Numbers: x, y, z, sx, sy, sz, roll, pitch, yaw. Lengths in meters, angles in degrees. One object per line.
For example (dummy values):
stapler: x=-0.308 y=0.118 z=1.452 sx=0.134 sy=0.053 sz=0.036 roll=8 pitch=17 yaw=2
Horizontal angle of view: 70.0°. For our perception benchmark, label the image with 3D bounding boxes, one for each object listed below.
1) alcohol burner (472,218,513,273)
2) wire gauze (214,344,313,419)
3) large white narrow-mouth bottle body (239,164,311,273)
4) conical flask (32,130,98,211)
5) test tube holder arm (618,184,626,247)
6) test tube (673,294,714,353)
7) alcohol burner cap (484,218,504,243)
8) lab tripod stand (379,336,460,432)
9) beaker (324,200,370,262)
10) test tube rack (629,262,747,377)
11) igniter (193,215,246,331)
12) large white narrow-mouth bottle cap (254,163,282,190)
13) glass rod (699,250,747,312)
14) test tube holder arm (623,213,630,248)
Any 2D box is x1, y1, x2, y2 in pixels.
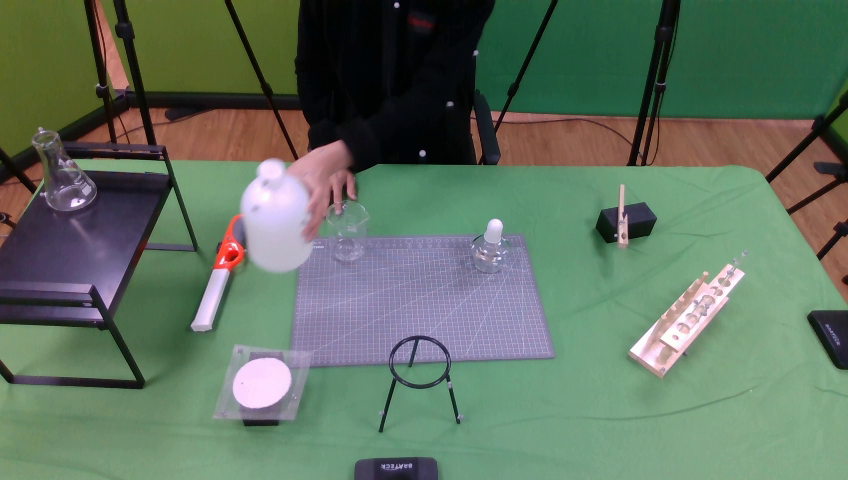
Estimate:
alcohol burner: x=0.129 y=0.005 z=1.132 sx=0.078 sy=0.120 sz=0.077 roll=0 pitch=47 yaw=0
wire gauze: x=-0.241 y=0.213 z=0.915 sx=0.121 sy=0.011 sz=0.124 roll=5 pitch=46 yaw=1
large white narrow-mouth bottle body: x=-0.229 y=-0.039 z=0.928 sx=0.102 sy=0.195 sz=0.101 roll=3 pitch=53 yaw=-4
conical flask: x=-0.565 y=-0.111 z=0.944 sx=0.075 sy=0.122 sz=0.075 roll=2 pitch=46 yaw=-2
test tube holder arm: x=0.395 y=-0.053 z=1.211 sx=0.013 sy=0.015 sz=0.177 roll=15 pitch=47 yaw=0
test tube: x=0.428 y=0.137 z=0.978 sx=0.017 sy=0.151 sz=0.017 roll=4 pitch=47 yaw=-4
alcohol burner cap: x=0.130 y=-0.021 z=1.106 sx=0.034 sy=0.048 sz=0.033 roll=3 pitch=51 yaw=-4
lab tripod stand: x=-0.011 y=0.214 z=0.911 sx=0.148 sy=0.132 sz=0.147 roll=1 pitch=45 yaw=0
beaker: x=-0.143 y=-0.015 z=1.142 sx=0.084 sy=0.101 sz=0.073 roll=1 pitch=46 yaw=-4
test tube rack: x=0.464 y=0.126 z=1.060 sx=0.242 sy=0.085 sz=0.066 roll=-34 pitch=56 yaw=-31
igniter: x=-0.368 y=0.050 z=1.119 sx=0.057 sy=0.025 sz=0.275 roll=-3 pitch=46 yaw=7
large white narrow-mouth bottle cap: x=-0.222 y=-0.090 z=0.859 sx=0.038 sy=0.024 sz=0.037 roll=3 pitch=53 yaw=-4
glass rod: x=0.500 y=0.074 z=1.021 sx=0.008 sy=0.201 sz=0.008 roll=0 pitch=55 yaw=1
test tube holder arm: x=0.392 y=-0.020 z=1.180 sx=0.010 sy=0.015 sz=0.087 roll=15 pitch=47 yaw=0
